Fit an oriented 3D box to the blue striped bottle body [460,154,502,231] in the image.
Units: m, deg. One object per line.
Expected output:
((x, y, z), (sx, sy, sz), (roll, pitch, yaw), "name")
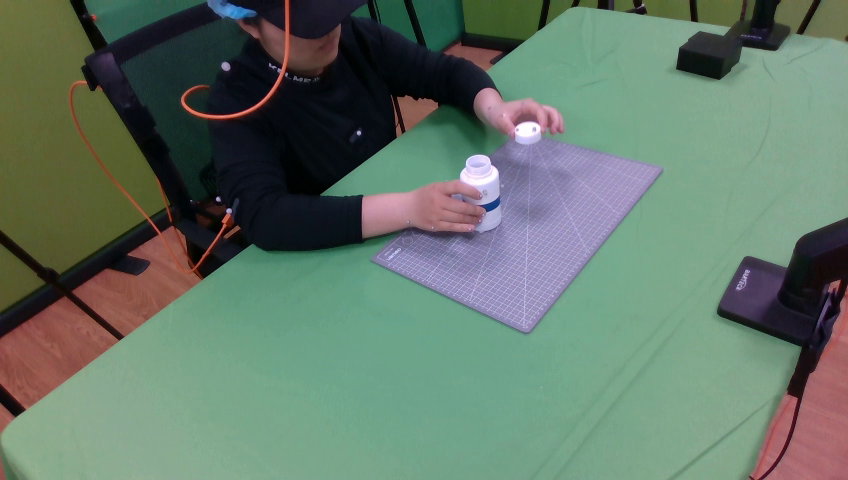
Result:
((0.092, -0.078, 0.977), (0.063, 0.121, 0.063), (-6, 40, 6), "blue striped bottle body")

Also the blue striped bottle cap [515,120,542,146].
((0.176, -0.180, 1.015), (0.044, 0.021, 0.044), (-7, 54, 10), "blue striped bottle cap")
